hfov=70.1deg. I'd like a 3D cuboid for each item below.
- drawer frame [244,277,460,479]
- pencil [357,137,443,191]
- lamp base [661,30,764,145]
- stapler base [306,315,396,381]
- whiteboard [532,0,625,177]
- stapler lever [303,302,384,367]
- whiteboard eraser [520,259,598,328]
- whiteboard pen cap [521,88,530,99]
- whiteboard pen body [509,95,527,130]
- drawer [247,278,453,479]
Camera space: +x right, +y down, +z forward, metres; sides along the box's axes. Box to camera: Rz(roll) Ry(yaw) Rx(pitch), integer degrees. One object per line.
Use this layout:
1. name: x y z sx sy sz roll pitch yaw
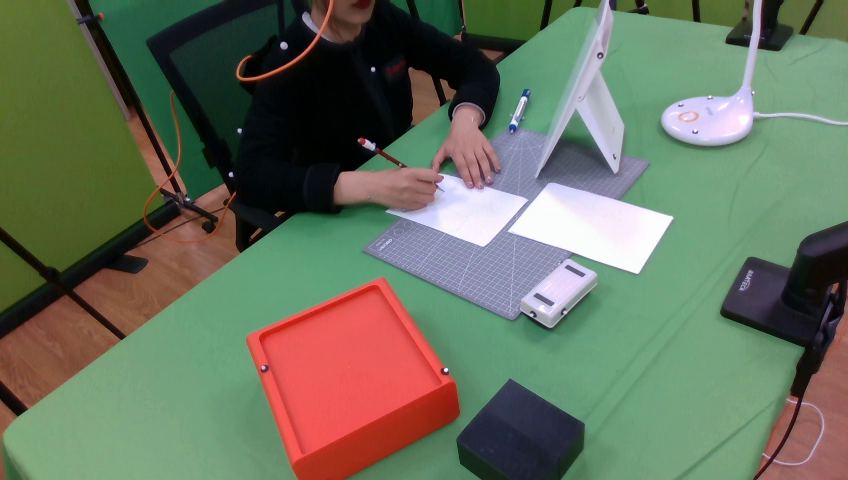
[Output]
1. drawer frame: -0.093 0.167 0.755 0.202 0.083 0.211 -23 43 -17
2. pencil: -0.036 -0.126 1.033 0.012 0.196 0.012 -30 46 37
3. lamp base: 0.535 -0.287 1.096 0.179 0.181 0.159 -10 40 -4
4. stapler base: -0.101 0.139 0.819 0.131 0.024 0.041 -31 37 -13
5. whiteboard: 0.321 -0.258 1.050 0.144 0.306 0.217 21 45 5
6. stapler lever: -0.108 0.124 0.805 0.118 0.040 0.026 -27 36 -15
7. whiteboard eraser: 0.189 0.076 0.843 0.055 0.042 0.113 29 53 37
8. whiteboard pen cap: 0.218 -0.312 1.301 0.018 0.018 0.033 6 46 17
9. whiteboard pen body: 0.199 -0.273 1.261 0.017 0.017 0.140 8 44 19
10. drawer: -0.096 0.167 0.758 0.195 0.073 0.210 -22 43 -16
